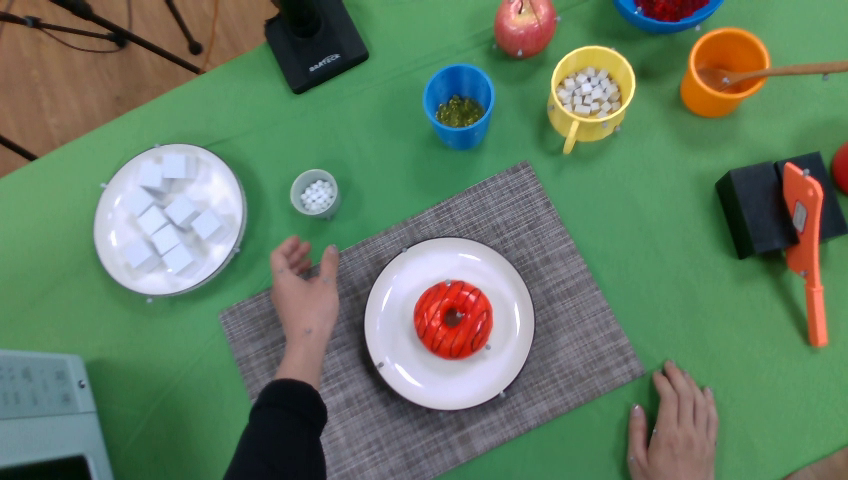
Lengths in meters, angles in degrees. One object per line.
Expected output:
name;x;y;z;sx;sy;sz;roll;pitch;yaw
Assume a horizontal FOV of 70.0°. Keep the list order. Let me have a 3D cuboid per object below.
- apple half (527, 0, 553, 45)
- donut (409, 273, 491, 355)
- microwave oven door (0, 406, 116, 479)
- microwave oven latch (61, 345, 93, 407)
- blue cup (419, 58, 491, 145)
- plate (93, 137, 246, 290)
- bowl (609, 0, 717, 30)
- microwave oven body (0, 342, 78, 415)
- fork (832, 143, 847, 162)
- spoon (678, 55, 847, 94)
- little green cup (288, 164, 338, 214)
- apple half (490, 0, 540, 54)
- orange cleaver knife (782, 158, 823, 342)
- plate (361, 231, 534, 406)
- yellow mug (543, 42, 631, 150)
apple half;0.149;-0.294;0.785;0.033;0.082;0.081;-21;76;5
donut;0.031;0.088;0.725;0.099;0.048;0.098;-1;79;8
microwave oven door;-0.376;0.348;0.612;0.039;0.245;0.354;-24;76;1
microwave oven latch;-0.445;0.172;0.760;0.030;0.029;0.078;-23;78;1
blue cup;0.042;-0.164;0.758;0.092;0.100;0.092;-1;80;5
plate;-0.334;-0.034;0.808;0.207;0.039;0.206;-1;78;7
bowl;0.300;-0.326;0.772;0.151;0.077;0.150;-1;79;7
microwave oven body;-0.525;0.369;0.630;0.326;0.261;0.439;-23;77;1
fork;0.563;-0.091;0.659;0.205;0.019;0.028;14;64;52
spoon;0.386;-0.195;0.700;0.022;0.192;0.041;28;80;-33
little green cup;-0.142;-0.064;0.792;0.061;0.039;0.061;-1;78;7
apple half;0.113;-0.279;0.788;0.053;0.075;0.080;-21;80;5
orange cleaver knife;0.427;0.012;0.687;0.012;0.077;0.212;-12;107;6
plate;0.028;0.093;0.736;0.209;0.038;0.208;-1;79;7
yellow mug;0.197;-0.173;0.760;0.099;0.064;0.130;21;83;10
